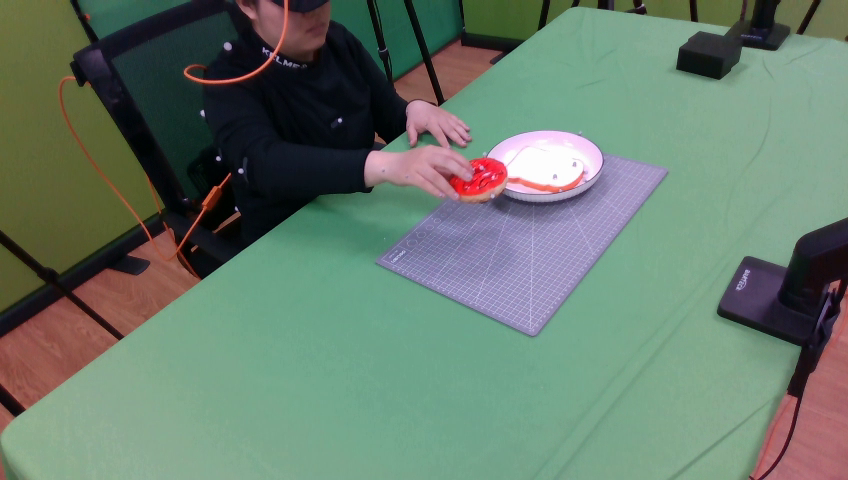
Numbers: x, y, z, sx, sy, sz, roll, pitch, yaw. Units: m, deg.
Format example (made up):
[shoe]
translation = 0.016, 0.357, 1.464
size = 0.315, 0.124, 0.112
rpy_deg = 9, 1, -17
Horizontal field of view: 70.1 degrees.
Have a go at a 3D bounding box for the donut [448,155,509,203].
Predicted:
[donut]
translation = 0.086, -0.097, 0.957
size = 0.099, 0.048, 0.098
rpy_deg = -12, 35, 9

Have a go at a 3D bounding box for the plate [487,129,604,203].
[plate]
translation = 0.213, -0.129, 1.079
size = 0.209, 0.038, 0.208
rpy_deg = -5, 40, 5

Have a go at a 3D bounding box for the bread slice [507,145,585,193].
[bread slice]
translation = 0.216, -0.125, 1.076
size = 0.133, 0.018, 0.107
rpy_deg = 16, 47, 28
